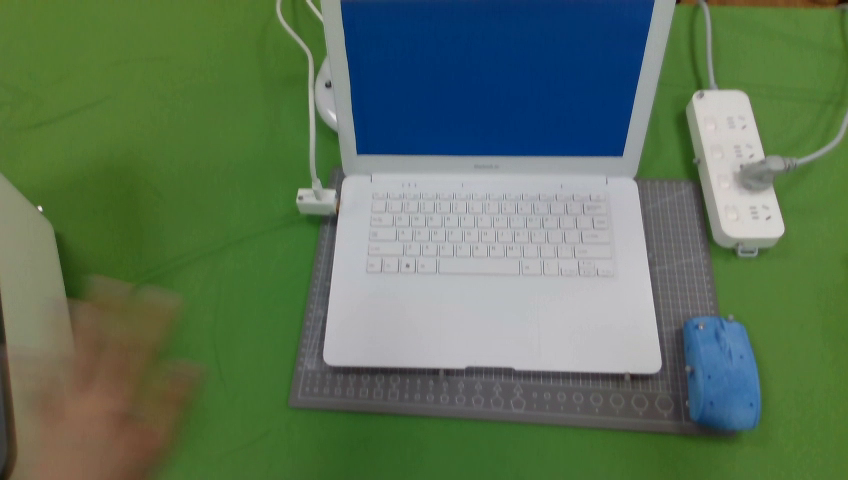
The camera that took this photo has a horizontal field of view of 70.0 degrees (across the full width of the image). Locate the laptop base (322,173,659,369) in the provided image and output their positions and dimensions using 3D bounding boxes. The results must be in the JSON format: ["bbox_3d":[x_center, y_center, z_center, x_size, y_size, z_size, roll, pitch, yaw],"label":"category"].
[{"bbox_3d":[0.071,0.029,0.684,0.354,0.023,0.233,1,66,2],"label":"laptop base"}]

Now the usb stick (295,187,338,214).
[{"bbox_3d":[-0.120,-0.046,0.715,0.059,0.027,0.021,5,58,2],"label":"usb stick"}]

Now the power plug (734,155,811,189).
[{"bbox_3d":[0.393,-0.071,0.691,0.072,0.053,0.035,10,62,5],"label":"power plug"}]

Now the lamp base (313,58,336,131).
[{"bbox_3d":[-0.077,-0.243,0.740,0.160,0.182,0.177,-33,63,-14],"label":"lamp base"}]

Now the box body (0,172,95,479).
[{"bbox_3d":[-0.493,0.117,0.577,0.254,0.161,0.360,-22,64,-10],"label":"box body"}]

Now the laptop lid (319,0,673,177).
[{"bbox_3d":[0.072,-0.167,0.663,0.356,0.244,0.013,-1,39,3],"label":"laptop lid"}]

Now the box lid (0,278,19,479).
[{"bbox_3d":[-0.496,0.079,0.512,0.263,0.015,0.368,-22,65,-10],"label":"box lid"}]

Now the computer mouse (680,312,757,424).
[{"bbox_3d":[0.296,0.126,0.612,0.063,0.041,0.116,5,59,6],"label":"computer mouse"}]

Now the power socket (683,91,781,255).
[{"bbox_3d":[0.366,-0.089,0.727,0.072,0.033,0.225,1,62,1],"label":"power socket"}]
